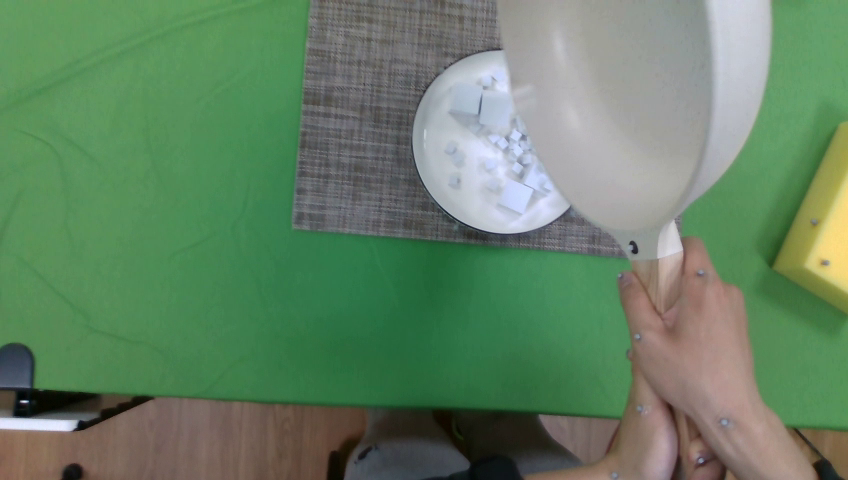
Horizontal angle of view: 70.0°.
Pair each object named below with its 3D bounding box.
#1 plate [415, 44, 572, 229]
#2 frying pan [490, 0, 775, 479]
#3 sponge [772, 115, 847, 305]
[{"bbox_3d":[0.092,-0.114,0.682,0.208,0.039,0.207,0,87,-5],"label":"plate"},{"bbox_3d":[0.152,-0.053,0.443,0.103,0.306,0.487,-10,91,-11],"label":"frying pan"},{"bbox_3d":[0.519,-0.037,0.713,0.118,0.061,0.206,28,85,-3],"label":"sponge"}]
